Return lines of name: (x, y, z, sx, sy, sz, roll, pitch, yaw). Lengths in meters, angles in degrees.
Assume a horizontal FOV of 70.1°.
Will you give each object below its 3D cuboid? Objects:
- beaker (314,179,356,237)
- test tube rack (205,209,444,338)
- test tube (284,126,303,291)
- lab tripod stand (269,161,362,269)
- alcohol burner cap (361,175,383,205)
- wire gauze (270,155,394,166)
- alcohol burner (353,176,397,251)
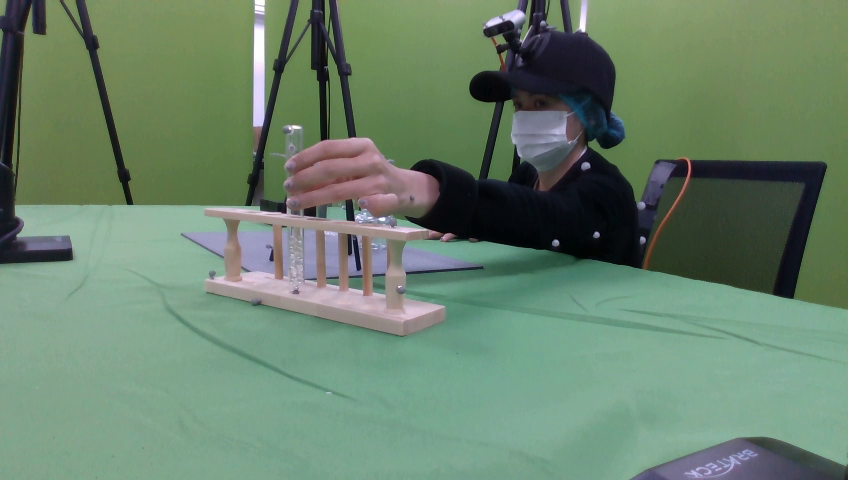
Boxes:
beaker: (-0.162, -0.058, 1.094, 0.074, 0.100, 0.083, 0, 9, -21)
test tube rack: (-0.100, 0.021, 0.564, 0.241, 0.085, 0.067, 7, 8, 32)
test tube: (-0.118, -0.028, 0.549, 0.017, 0.150, 0.017, 1, 8, 0)
lab tripod stand: (-0.125, -0.036, 0.793, 0.148, 0.131, 0.148, 5, 7, 0)
alcohol burner cap: (-0.080, -0.078, 0.944, 0.034, 0.048, 0.034, 5, 7, 0)
wire gauze: (-0.121, -0.102, 0.785, 0.122, 0.011, 0.124, -3, 10, -39)
alcohol burner: (-0.082, -0.043, 0.950, 0.078, 0.119, 0.078, 1, 8, 0)
